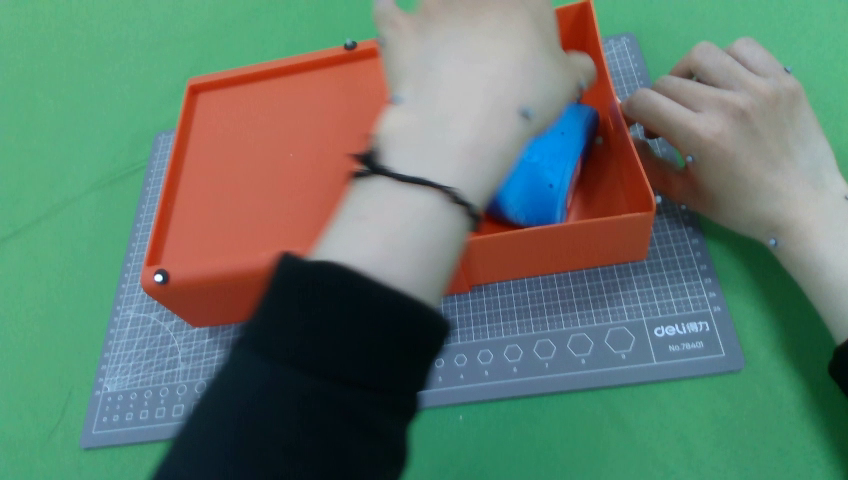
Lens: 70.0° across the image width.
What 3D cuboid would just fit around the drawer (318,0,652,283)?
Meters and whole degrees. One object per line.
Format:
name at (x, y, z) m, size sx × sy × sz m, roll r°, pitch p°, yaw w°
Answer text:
drawer at (0.035, -0.068, 0.439) m, size 0.211 × 0.074 × 0.192 m, roll -9°, pitch 59°, yaw 9°

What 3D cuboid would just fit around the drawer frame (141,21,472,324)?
drawer frame at (-0.077, -0.050, 0.456) m, size 0.213 × 0.083 × 0.199 m, roll -10°, pitch 58°, yaw 10°

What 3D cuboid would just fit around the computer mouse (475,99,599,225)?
computer mouse at (0.083, -0.063, 0.440) m, size 0.062 × 0.041 × 0.116 m, roll 15°, pitch 58°, yaw 23°
